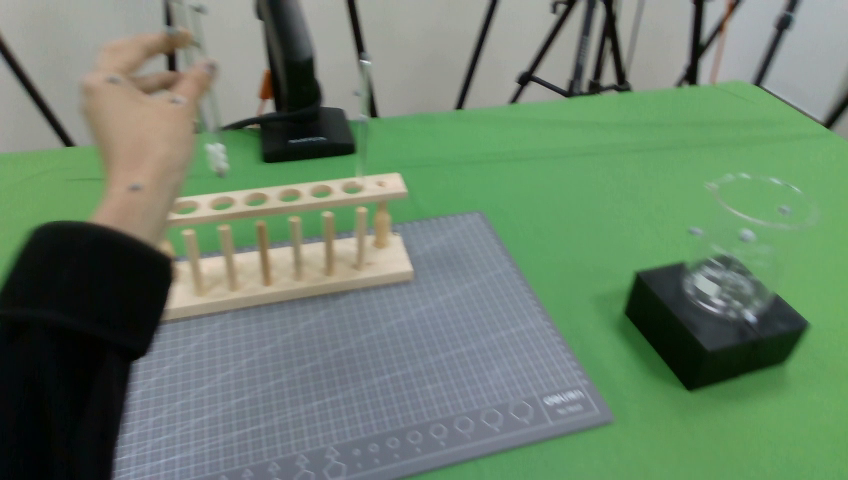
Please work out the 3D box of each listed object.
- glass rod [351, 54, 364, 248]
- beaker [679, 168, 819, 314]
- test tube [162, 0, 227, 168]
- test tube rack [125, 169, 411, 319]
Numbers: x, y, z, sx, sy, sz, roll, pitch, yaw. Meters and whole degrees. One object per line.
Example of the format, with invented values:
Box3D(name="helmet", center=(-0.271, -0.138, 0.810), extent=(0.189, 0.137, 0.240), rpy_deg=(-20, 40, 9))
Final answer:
Box3D(name="glass rod", center=(-0.061, -0.070, 0.547), extent=(0.008, 0.201, 0.008), rpy_deg=(5, 39, -3))
Box3D(name="beaker", center=(0.250, 0.002, 0.485), extent=(0.083, 0.101, 0.074), rpy_deg=(30, 46, 32))
Box3D(name="test tube", center=(-0.162, -0.108, 0.434), extent=(0.017, 0.151, 0.017), rpy_deg=(3, 51, -3))
Box3D(name="test tube rack", center=(-0.136, 0.000, 0.562), extent=(0.243, 0.086, 0.066), rpy_deg=(-9, 39, -13))
